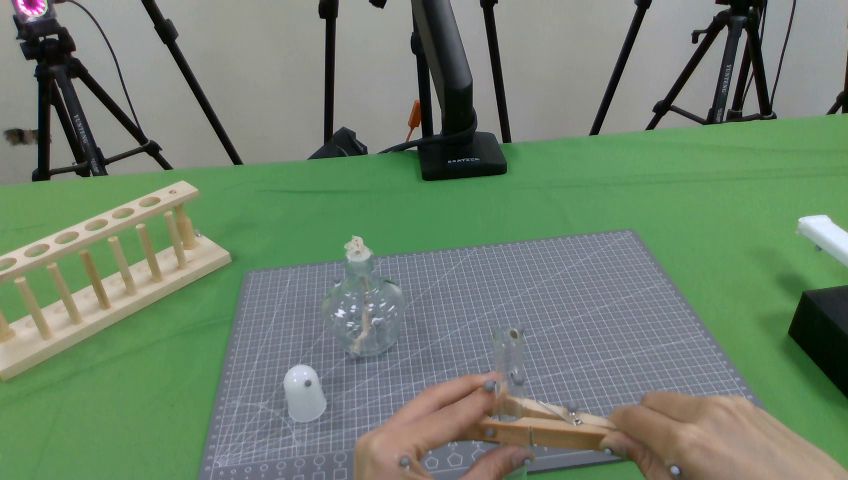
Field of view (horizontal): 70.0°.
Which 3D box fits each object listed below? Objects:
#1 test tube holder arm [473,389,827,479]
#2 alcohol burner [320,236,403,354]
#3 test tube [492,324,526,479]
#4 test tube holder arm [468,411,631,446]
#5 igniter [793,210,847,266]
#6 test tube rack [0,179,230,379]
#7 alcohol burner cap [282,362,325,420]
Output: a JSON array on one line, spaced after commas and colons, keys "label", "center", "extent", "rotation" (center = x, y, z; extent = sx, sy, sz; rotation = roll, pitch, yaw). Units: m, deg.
[{"label": "test tube holder arm", "center": [0.112, 0.103, 0.325], "extent": [0.177, 0.015, 0.013], "rotation": [5, 39, 21]}, {"label": "alcohol burner", "center": [-0.058, 0.045, 0.547], "extent": [0.078, 0.120, 0.077], "rotation": [-1, 36, 1]}, {"label": "test tube", "center": [0.050, 0.113, 0.351], "extent": [0.017, 0.151, 0.017], "rotation": [-5, 29, 3]}, {"label": "test tube holder arm", "center": [0.068, 0.104, 0.335], "extent": [0.087, 0.015, 0.010], "rotation": [-1, 36, 13]}, {"label": "igniter", "center": [0.407, 0.047, 0.501], "extent": [0.057, 0.025, 0.273], "rotation": [-7, 31, -4]}, {"label": "test tube rack", "center": [-0.331, 0.030, 0.621], "extent": [0.066, 0.086, 0.242], "rotation": [26, 44, 35]}, {"label": "alcohol burner cap", "center": [-0.101, 0.122, 0.502], "extent": [0.034, 0.048, 0.033], "rotation": [-1, 35, 1]}]
